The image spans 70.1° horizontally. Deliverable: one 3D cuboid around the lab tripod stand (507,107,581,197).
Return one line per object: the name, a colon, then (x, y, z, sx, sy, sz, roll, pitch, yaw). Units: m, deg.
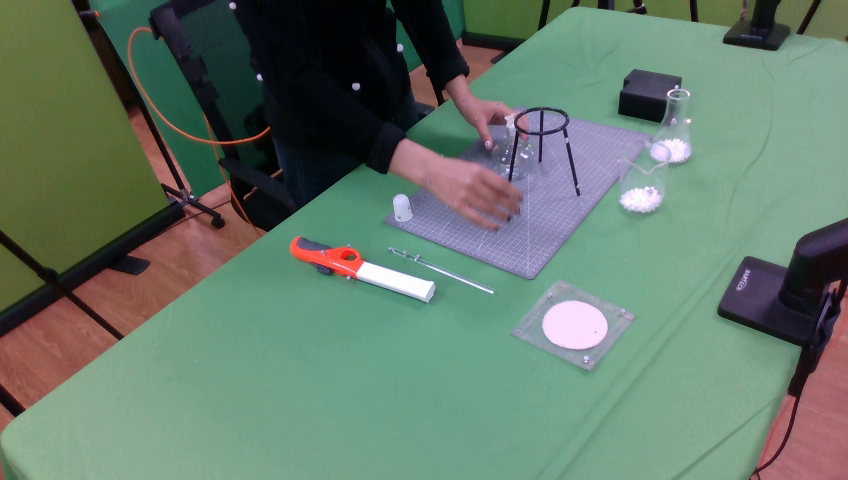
lab tripod stand: (0.201, -0.151, 1.033, 0.148, 0.132, 0.147, -7, 39, 6)

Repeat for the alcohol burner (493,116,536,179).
alcohol burner: (0.161, -0.169, 1.078, 0.078, 0.119, 0.077, -5, 42, 5)

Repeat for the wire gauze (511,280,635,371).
wire gauze: (0.203, 0.114, 0.822, 0.120, 0.011, 0.125, 25, 53, 35)

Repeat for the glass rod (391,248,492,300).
glass rod: (0.023, 0.050, 0.935, 0.198, 0.008, 0.008, 25, 51, 32)

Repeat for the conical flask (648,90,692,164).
conical flask: (0.437, -0.199, 1.057, 0.075, 0.122, 0.075, -5, 40, 5)

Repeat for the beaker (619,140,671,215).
beaker: (0.352, -0.096, 0.971, 0.074, 0.101, 0.084, 1, 42, 13)

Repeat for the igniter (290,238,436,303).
igniter: (-0.106, 0.044, 0.949, 0.274, 0.025, 0.057, 16, 57, 27)

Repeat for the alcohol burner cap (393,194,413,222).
alcohol burner cap: (-0.038, -0.056, 1.038, 0.034, 0.048, 0.033, -6, 41, 5)
